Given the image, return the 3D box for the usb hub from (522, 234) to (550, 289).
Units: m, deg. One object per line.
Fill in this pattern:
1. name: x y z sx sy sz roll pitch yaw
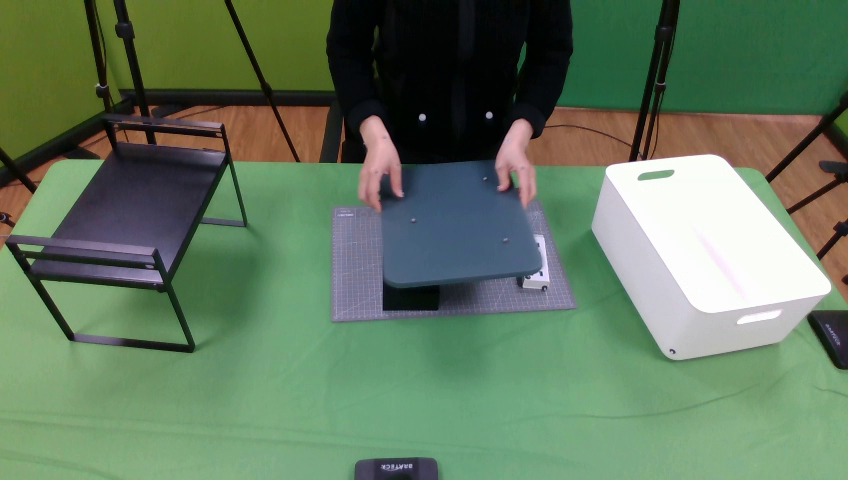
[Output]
1. usb hub: 0.213 0.039 1.168 0.049 0.025 0.124 4 45 1

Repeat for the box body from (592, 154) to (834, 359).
1. box body: 0.496 0.023 1.112 0.254 0.161 0.361 -8 47 -10

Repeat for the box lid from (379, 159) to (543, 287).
1. box lid: 0.051 -0.046 1.096 0.263 0.015 0.369 -5 36 -2
